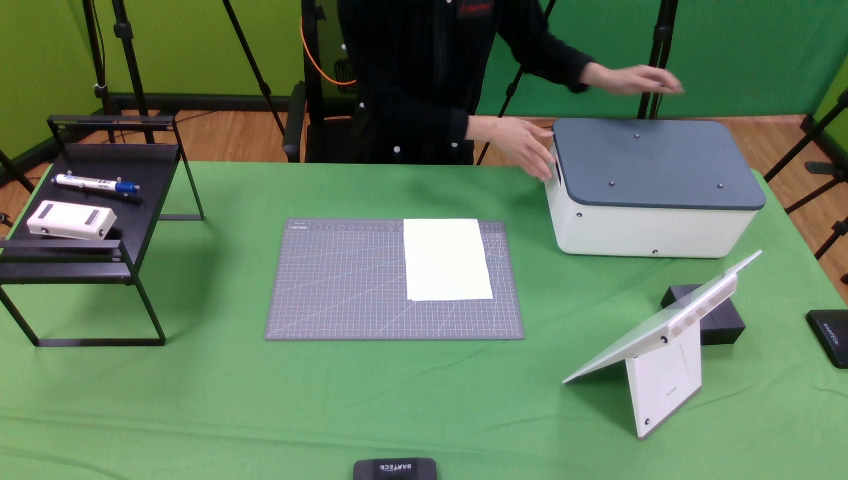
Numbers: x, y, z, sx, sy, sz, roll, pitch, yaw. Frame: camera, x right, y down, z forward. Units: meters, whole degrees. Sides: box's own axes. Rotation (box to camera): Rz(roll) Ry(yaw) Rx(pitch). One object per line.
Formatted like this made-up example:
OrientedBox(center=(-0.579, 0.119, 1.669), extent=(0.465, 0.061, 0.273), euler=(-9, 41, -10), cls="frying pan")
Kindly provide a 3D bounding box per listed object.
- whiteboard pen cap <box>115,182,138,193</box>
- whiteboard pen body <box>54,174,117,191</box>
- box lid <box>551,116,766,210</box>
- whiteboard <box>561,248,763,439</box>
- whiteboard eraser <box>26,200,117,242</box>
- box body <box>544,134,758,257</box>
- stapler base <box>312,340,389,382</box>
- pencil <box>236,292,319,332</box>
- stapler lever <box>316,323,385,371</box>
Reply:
OrientedBox(center=(-0.483, -0.086, 0.984), extent=(0.033, 0.018, 0.018), euler=(7, 46, 10), cls="whiteboard pen cap")
OrientedBox(center=(-0.541, -0.093, 0.993), extent=(0.140, 0.017, 0.017), euler=(7, 46, 8), cls="whiteboard pen body")
OrientedBox(center=(0.446, -0.154, 1.179), extent=(0.372, 0.015, 0.261), euler=(1, 47, -2), cls="box lid")
OrientedBox(center=(0.386, 0.176, 0.905), extent=(0.217, 0.306, 0.143), euler=(-26, 72, -27), cls="whiteboard")
OrientedBox(center=(-0.532, -0.026, 0.919), extent=(0.113, 0.042, 0.055), euler=(7, 45, 3), cls="whiteboard eraser")
OrientedBox(center=(0.441, -0.103, 1.233), extent=(0.364, 0.161, 0.252), euler=(1, 46, -3), cls="box body")
OrientedBox(center=(-0.123, 0.189, 0.997), extent=(0.130, 0.024, 0.041), euler=(20, 49, 16), cls="stapler base")
OrientedBox(center=(-0.244, 0.131, 1.056), extent=(0.194, 0.012, 0.012), euler=(22, 49, 12), cls="pencil")
OrientedBox(center=(-0.120, 0.171, 0.979), extent=(0.118, 0.040, 0.027), euler=(21, 49, 15), cls="stapler lever")
